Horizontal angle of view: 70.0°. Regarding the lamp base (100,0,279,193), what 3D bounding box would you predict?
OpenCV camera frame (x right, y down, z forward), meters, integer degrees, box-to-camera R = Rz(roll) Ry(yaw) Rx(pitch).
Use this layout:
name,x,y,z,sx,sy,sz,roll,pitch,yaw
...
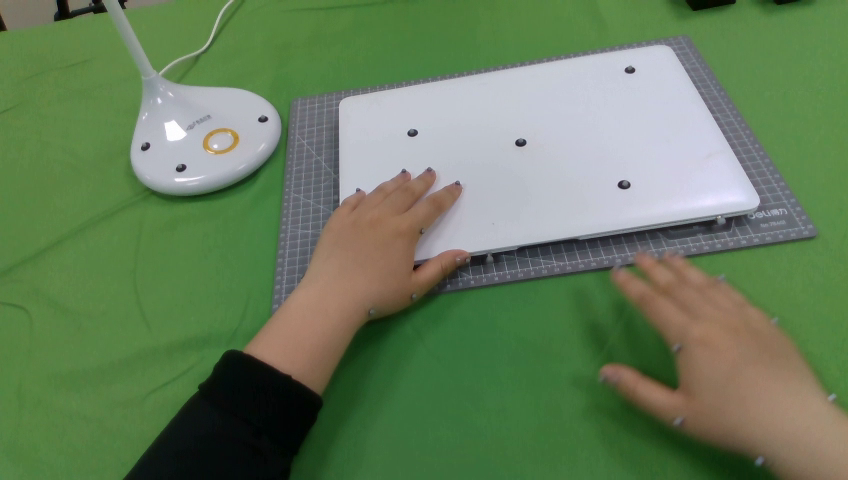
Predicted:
name,x,y,z,sx,sy,sz,roll,pitch,yaw
lamp base,-0.255,-0.163,0.595,0.178,0.182,0.160,23,58,29

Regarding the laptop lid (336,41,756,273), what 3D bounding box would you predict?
name,x,y,z,sx,sy,sz,roll,pitch,yaw
laptop lid,0.090,-0.090,0.567,0.356,0.013,0.239,-8,52,3

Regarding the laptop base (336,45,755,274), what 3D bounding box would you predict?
name,x,y,z,sx,sy,sz,roll,pitch,yaw
laptop base,0.091,-0.084,0.578,0.354,0.023,0.233,-9,54,2
